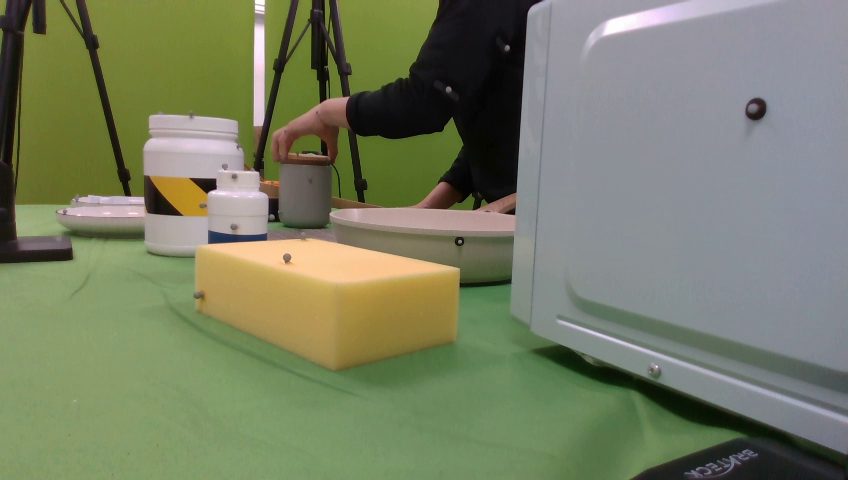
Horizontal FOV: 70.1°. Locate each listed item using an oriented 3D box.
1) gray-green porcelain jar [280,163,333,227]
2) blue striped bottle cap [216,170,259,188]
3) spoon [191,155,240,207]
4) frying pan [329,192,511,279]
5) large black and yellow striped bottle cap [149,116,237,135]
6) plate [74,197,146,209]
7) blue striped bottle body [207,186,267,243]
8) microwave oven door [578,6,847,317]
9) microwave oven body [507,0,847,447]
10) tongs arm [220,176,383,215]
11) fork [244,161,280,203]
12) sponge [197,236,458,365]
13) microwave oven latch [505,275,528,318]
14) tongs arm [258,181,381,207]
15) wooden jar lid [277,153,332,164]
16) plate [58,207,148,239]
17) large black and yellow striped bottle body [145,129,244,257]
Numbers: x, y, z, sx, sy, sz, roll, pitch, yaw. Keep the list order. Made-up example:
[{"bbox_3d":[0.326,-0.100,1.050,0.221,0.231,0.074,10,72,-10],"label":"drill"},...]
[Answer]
[{"bbox_3d":[-0.238,-0.092,1.221,0.106,0.126,0.106,2,7,0],"label":"gray-green porcelain jar"},{"bbox_3d":[-0.201,-0.066,0.654,0.044,0.020,0.044,0,5,0],"label":"blue striped bottle cap"},{"bbox_3d":[-0.489,-0.135,1.417,0.041,0.021,0.194,2,-35,20],"label":"spoon"},{"bbox_3d":[0.071,-0.030,0.883,0.305,0.102,0.490,7,17,27],"label":"frying pan"},{"bbox_3d":[-0.319,-0.158,0.841,0.115,0.019,0.115,3,7,0],"label":"large black and yellow striped bottle cap"},{"bbox_3d":[-0.596,-0.062,1.238,0.208,0.039,0.207,2,8,0],"label":"plate"},{"bbox_3d":[-0.204,-0.015,0.661,0.063,0.120,0.063,2,7,0],"label":"blue striped bottle body"},{"bbox_3d":[0.294,-0.067,0.570,0.358,0.243,0.039,-3,9,-31],"label":"microwave oven door"},{"bbox_3d":[0.331,-0.042,0.425,0.444,0.260,0.324,-2,8,-31],"label":"microwave oven body"},{"bbox_3d":[-0.285,-0.104,1.445,0.389,0.027,0.028,9,-4,-23],"label":"tongs arm"},{"bbox_3d":[-0.398,-0.144,1.489,0.028,0.018,0.208,22,-23,47],"label":"fork"},{"bbox_3d":[-0.087,0.039,0.500,0.206,0.061,0.119,8,9,44],"label":"sponge"},{"bbox_3d":[0.100,0.041,0.472,0.079,0.029,0.030,-2,8,-30],"label":"microwave oven latch"},{"bbox_3d":[-0.241,-0.095,1.373,0.387,0.026,0.050,9,0,-37],"label":"tongs arm"},{"bbox_3d":[-0.241,-0.164,1.218,0.108,0.020,0.108,4,10,0],"label":"wooden jar lid"},{"bbox_3d":[-0.496,-0.030,1.021,0.209,0.038,0.209,2,8,0],"label":"plate"},{"bbox_3d":[-0.320,-0.075,0.851,0.131,0.184,0.130,2,8,0],"label":"large black and yellow striped bottle body"}]
